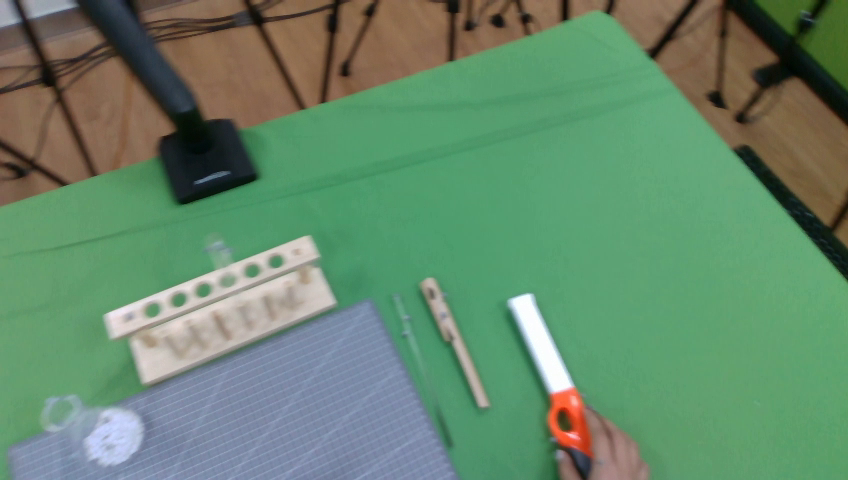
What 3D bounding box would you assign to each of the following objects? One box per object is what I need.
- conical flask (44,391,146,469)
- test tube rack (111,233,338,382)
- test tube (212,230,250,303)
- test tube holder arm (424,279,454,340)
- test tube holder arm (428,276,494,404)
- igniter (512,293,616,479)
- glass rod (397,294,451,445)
[{"bbox_3d":[-0.352,0.195,0.643,0.075,0.123,0.074,1,60,-2],"label":"conical flask"},{"bbox_3d":[-0.233,0.082,0.736,0.242,0.086,0.066,-22,64,-14],"label":"test tube rack"},{"bbox_3d":[-0.223,0.036,0.706,0.017,0.151,0.017,2,57,-3],"label":"test tube"},{"bbox_3d":[0.022,0.089,0.783,0.010,0.015,0.087,-35,63,19],"label":"test tube holder arm"},{"bbox_3d":[0.044,0.123,0.762,0.013,0.015,0.176,-36,63,18],"label":"test tube holder arm"},{"bbox_3d":[0.168,0.190,0.726,0.057,0.025,0.274,-14,63,-10],"label":"igniter"},{"bbox_3d":[-0.002,0.156,0.748,0.008,0.008,0.198,-15,65,-11],"label":"glass rod"}]
